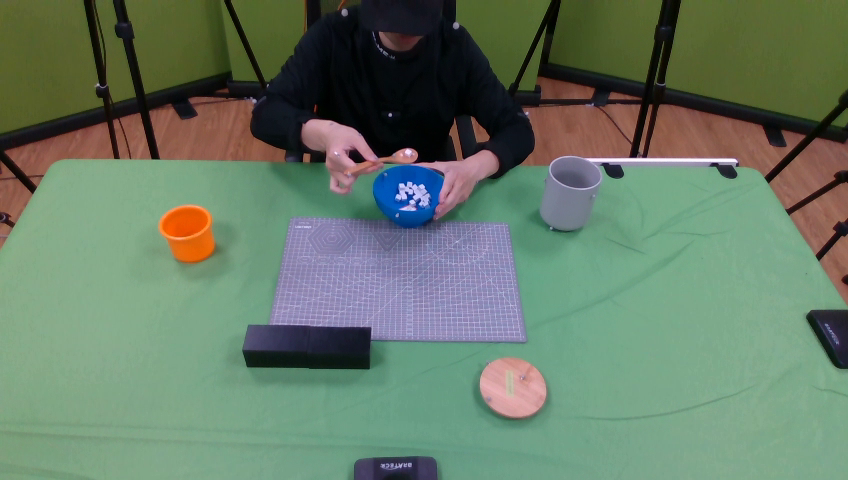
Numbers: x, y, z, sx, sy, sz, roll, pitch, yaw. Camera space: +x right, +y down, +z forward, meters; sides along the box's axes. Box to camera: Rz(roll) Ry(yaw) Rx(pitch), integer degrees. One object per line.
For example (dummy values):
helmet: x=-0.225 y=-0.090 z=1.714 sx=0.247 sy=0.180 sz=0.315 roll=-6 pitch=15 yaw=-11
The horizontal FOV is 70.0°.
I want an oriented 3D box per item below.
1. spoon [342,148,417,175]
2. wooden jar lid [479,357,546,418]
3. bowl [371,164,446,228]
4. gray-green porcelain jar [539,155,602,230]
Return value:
spoon: x=-0.079 y=-0.142 z=1.083 sx=0.041 sy=0.022 sz=0.194 roll=36 pitch=32 yaw=24
wooden jar lid: x=0.142 y=0.240 z=0.979 sx=0.108 sy=0.021 sz=0.107 roll=1 pitch=46 yaw=-1
bowl: x=-0.032 y=-0.078 z=1.228 sx=0.151 sy=0.077 sz=0.150 roll=2 pitch=44 yaw=-2
gray-green porcelain jar: x=0.294 y=-0.091 z=1.235 sx=0.106 sy=0.127 sz=0.105 roll=2 pitch=46 yaw=-2
